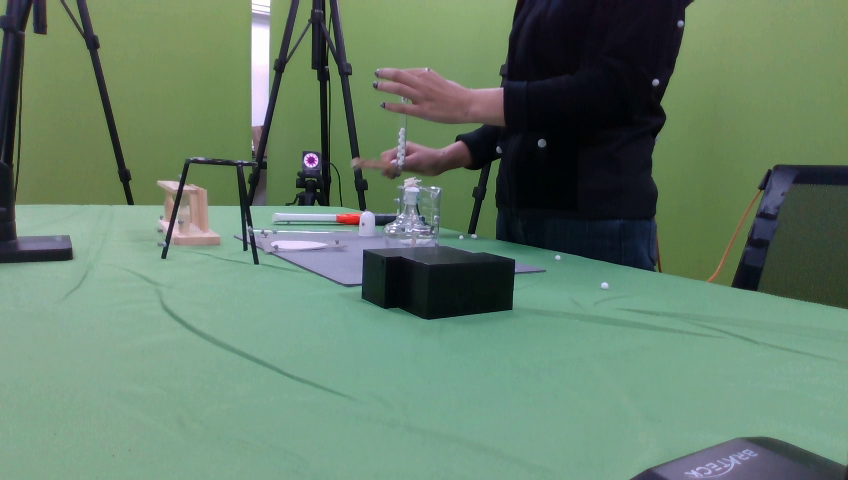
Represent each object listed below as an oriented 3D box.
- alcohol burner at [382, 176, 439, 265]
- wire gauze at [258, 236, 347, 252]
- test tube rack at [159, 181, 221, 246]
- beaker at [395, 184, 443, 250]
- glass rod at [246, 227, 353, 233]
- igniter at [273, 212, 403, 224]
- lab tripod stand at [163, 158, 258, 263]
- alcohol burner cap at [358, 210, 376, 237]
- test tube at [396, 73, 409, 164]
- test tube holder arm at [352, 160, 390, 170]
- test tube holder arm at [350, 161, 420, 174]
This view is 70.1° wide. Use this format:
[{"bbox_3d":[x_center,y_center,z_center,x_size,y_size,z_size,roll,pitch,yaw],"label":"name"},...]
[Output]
[{"bbox_3d":[-0.018,-0.027,0.818,0.078,0.119,0.078,3,9,0],"label":"alcohol burner"},{"bbox_3d":[-0.189,0.005,0.931,0.122,0.011,0.124,1,7,-21],"label":"wire gauze"},{"bbox_3d":[-0.395,-0.050,1.010,0.067,0.085,0.241,-2,8,-28],"label":"test tube rack"},{"bbox_3d":[-0.007,-0.037,0.965,0.074,0.100,0.083,-4,11,-40],"label":"beaker"},{"bbox_3d":[-0.224,-0.017,1.109,0.201,0.008,0.008,1,7,-27],"label":"glass rod"},{"bbox_3d":[-0.179,-0.047,1.290,0.278,0.025,0.057,-1,-2,-24],"label":"igniter"},{"bbox_3d":[-0.265,-0.041,0.802,0.148,0.131,0.148,4,7,0],"label":"lab tripod stand"},{"bbox_3d":[-0.104,-0.030,1.098,0.034,0.048,0.034,2,7,0],"label":"alcohol burner cap"},{"bbox_3d":[-0.036,-0.203,1.016,0.017,0.150,0.017,3,11,0],"label":"test tube"},{"bbox_3d":[-0.098,-0.140,1.132,0.010,0.015,0.088,2,2,42],"label":"test tube holder arm"},{"bbox_3d":[-0.072,-0.141,1.170,0.013,0.015,0.179,2,2,41],"label":"test tube holder arm"}]
